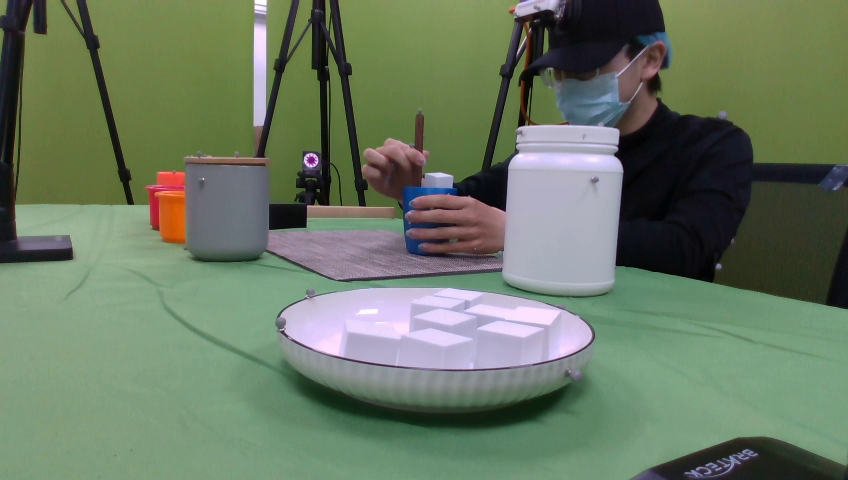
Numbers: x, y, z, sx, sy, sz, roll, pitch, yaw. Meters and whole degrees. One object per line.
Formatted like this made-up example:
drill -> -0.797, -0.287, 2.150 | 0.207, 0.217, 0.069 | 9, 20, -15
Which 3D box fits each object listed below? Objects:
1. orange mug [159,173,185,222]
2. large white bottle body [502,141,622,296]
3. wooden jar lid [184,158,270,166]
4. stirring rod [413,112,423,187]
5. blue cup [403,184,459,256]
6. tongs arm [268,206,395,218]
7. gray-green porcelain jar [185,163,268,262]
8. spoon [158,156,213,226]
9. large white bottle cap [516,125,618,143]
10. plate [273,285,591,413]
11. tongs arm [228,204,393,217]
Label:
orange mug -> -0.477, -0.089, 1.241 | 0.127, 0.101, 0.083 | -7, 11, -33
large white bottle body -> 0.161, -0.037, 0.706 | 0.131, 0.184, 0.130 | 2, 7, 0
wooden jar lid -> -0.260, -0.099, 0.801 | 0.108, 0.020, 0.108 | 0, 9, 0
stirring rod -> -0.010, -0.100, 0.898 | 0.014, 0.176, 0.006 | 7, 10, 29
blue cup -> 0.007, -0.030, 0.913 | 0.093, 0.100, 0.092 | 4, 10, 0
tongs arm -> -0.230, -0.064, 1.379 | 0.387, 0.026, 0.050 | -1, 3, -31
gray-green porcelain jar -> -0.263, -0.038, 0.808 | 0.106, 0.126, 0.106 | 3, 8, 0
spoon -> -0.435, -0.094, 1.121 | 0.041, 0.022, 0.193 | 5, 51, 13
large white bottle cap -> 0.163, -0.120, 0.695 | 0.115, 0.018, 0.115 | 2, 8, 0
plate -> 0.004, 0.069, 0.407 | 0.208, 0.039, 0.207 | 2, 7, 0
tongs arm -> -0.267, -0.070, 1.453 | 0.389, 0.027, 0.028 | 0, -1, -18
